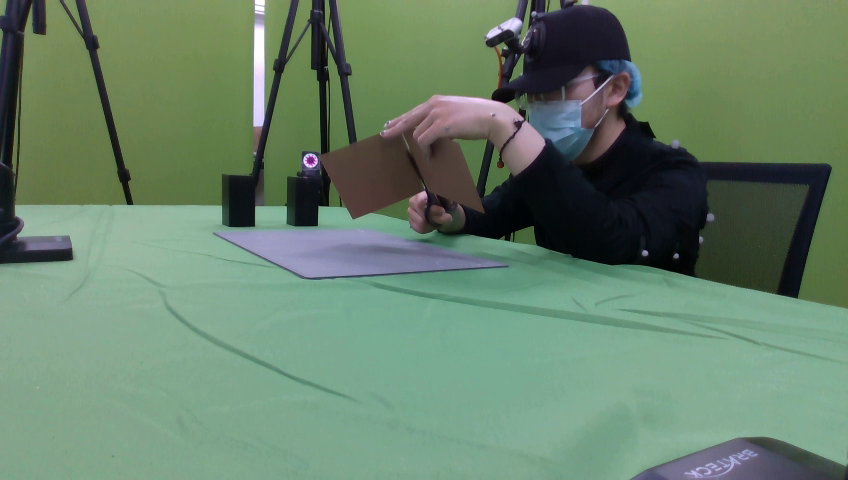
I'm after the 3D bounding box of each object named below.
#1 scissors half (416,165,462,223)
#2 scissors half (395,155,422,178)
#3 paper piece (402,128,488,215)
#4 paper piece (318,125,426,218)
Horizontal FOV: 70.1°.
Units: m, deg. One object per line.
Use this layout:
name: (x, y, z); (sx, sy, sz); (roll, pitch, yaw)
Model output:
scissors half: (0.008, -0.089, 1.009); (0.012, 0.176, 0.040); (-20, 34, 38)
scissors half: (0.011, -0.107, 1.022); (0.013, 0.040, 0.176); (-24, -34, 34)
paper piece: (0.031, -0.105, 0.918); (0.137, 0.136, 0.008); (21, 57, 44)
paper piece: (-0.080, -0.107, 0.976); (0.136, 0.136, 0.004); (-21, 38, 5)
